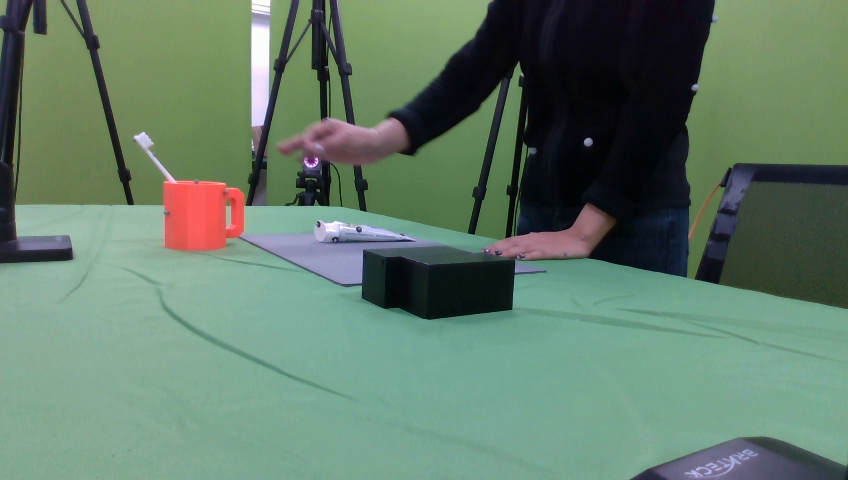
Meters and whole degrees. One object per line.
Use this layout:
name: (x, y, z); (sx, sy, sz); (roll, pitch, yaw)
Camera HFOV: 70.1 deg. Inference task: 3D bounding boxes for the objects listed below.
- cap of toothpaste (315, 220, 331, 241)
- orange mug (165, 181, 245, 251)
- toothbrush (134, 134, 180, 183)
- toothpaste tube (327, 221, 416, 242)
cap of toothpaste: (-0.164, -0.016, 0.982); (0.011, 0.037, 0.037); (-9, 12, -43)
orange mug: (-0.326, -0.040, 0.911); (0.083, 0.101, 0.127); (8, 14, 37)
toothbrush: (-0.349, -0.077, 0.874); (0.014, 0.182, 0.017); (-13, 30, 47)
toothpaste tube: (-0.095, -0.012, 1.026); (0.166, 0.034, 0.055); (2, 13, -33)
